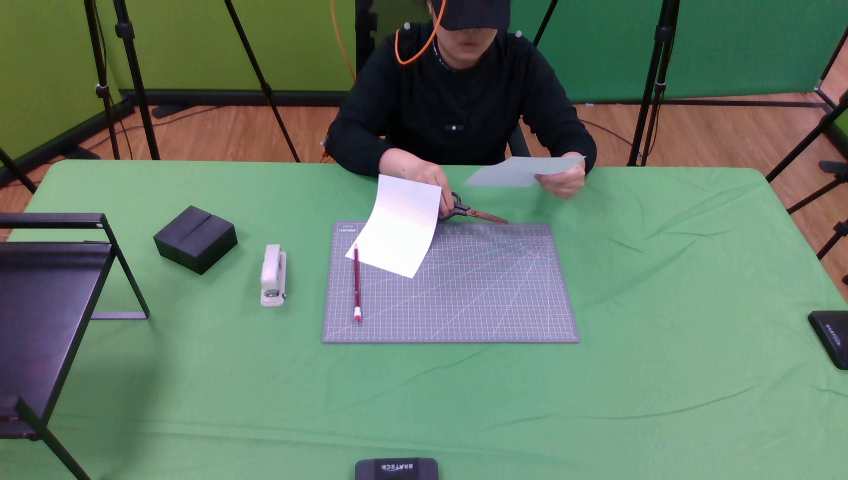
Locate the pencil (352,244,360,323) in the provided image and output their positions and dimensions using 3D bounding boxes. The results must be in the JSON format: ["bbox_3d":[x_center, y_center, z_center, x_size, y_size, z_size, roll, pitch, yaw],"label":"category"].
[{"bbox_3d":[-0.127,0.075,1.120,0.012,0.012,0.192,-2,44,-7],"label":"pencil"}]

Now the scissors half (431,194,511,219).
[{"bbox_3d":[0.092,-0.064,1.212,0.174,0.013,0.040,18,53,28],"label":"scissors half"}]

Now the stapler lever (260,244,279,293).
[{"bbox_3d":[-0.278,0.045,1.096,0.027,0.040,0.117,-2,44,-9],"label":"stapler lever"}]

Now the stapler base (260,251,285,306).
[{"bbox_3d":[-0.279,0.064,1.113,0.041,0.024,0.129,-2,44,-9],"label":"stapler base"}]

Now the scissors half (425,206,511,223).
[{"bbox_3d":[0.085,-0.049,1.200,0.175,0.013,0.040,1,52,17],"label":"scissors half"}]
